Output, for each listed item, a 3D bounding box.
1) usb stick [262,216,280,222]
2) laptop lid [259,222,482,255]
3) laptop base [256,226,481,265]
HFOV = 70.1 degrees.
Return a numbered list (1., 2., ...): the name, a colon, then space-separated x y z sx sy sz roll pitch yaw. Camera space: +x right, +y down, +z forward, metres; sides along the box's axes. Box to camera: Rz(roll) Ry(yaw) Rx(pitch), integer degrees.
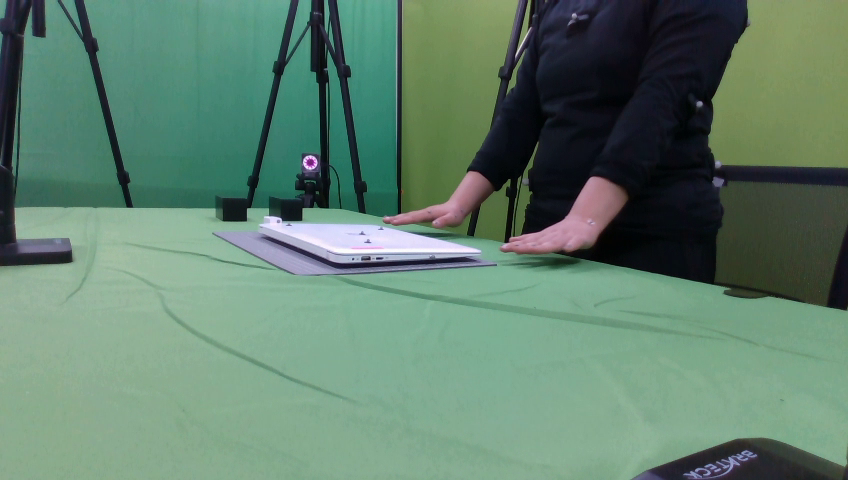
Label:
1. usb stick: -0.271 -0.028 1.079 0.021 0.027 0.059 -1 10 -29
2. laptop lid: -0.100 -0.005 0.961 0.243 0.013 0.355 1 7 -30
3. laptop base: -0.103 0.007 0.961 0.237 0.023 0.352 2 6 -32
